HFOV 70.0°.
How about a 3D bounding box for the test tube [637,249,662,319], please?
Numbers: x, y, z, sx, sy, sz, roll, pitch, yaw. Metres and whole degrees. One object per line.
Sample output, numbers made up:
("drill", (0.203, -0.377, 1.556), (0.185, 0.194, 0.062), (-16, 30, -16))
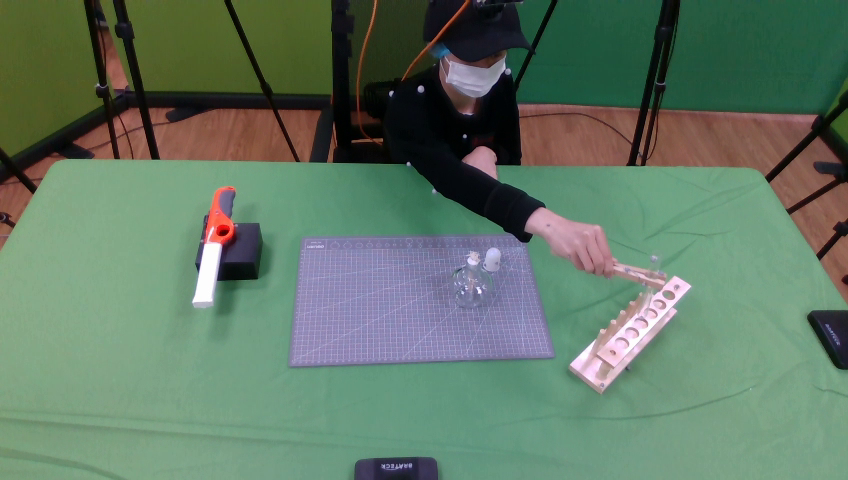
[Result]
("test tube", (0.348, 0.071, 0.937), (0.017, 0.151, 0.017), (-4, 44, 4))

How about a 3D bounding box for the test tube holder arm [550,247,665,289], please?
("test tube holder arm", (0.284, 0.042, 0.948), (0.178, 0.015, 0.013), (17, 45, 23))

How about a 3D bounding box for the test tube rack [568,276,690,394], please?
("test tube rack", (0.354, 0.149, 1.038), (0.242, 0.085, 0.066), (-34, 56, -31))

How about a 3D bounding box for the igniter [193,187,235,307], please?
("igniter", (-0.378, 0.003, 1.096), (0.057, 0.025, 0.274), (-1, 49, -6))

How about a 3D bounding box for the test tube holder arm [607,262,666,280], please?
("test tube holder arm", (0.326, 0.050, 0.936), (0.087, 0.015, 0.010), (11, 44, 18))

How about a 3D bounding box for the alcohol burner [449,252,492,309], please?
("alcohol burner", (0.083, 0.066, 1.073), (0.078, 0.120, 0.077), (1, 45, -1))

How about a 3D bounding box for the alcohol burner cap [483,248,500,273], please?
("alcohol burner cap", (0.130, 0.037, 1.156), (0.034, 0.048, 0.033), (1, 45, -1))
